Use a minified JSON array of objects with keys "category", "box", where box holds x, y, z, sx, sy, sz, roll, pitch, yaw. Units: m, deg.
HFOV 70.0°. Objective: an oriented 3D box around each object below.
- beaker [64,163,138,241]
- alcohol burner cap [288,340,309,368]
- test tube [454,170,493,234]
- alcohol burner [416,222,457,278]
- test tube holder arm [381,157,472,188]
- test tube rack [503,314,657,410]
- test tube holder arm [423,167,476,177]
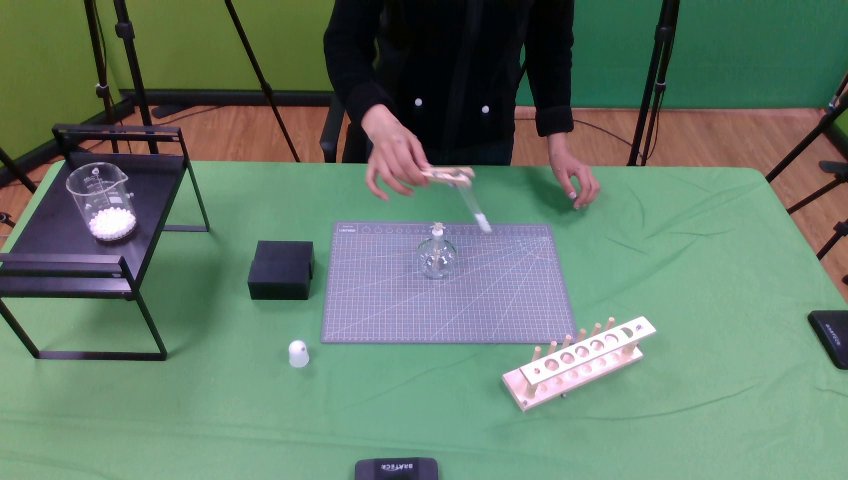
[{"category":"beaker","box":[-0.477,-0.055,0.910,0.084,0.101,0.073,-9,48,-13]},{"category":"alcohol burner cap","box":[-0.207,0.183,0.991,0.034,0.048,0.033,3,47,-2]},{"category":"test tube","box":[0.078,-0.055,0.924,0.017,0.151,0.017,-14,52,18]},{"category":"alcohol burner","box":[0.024,0.013,1.116,0.078,0.120,0.077,1,45,-1]},{"category":"test tube holder arm","box":[0.000,-0.104,0.913,0.177,0.015,0.013,18,78,39]},{"category":"test tube rack","box":[0.253,0.186,0.989,0.242,0.085,0.066,-18,50,-20]},{"category":"test tube holder arm","box":[0.036,-0.100,0.886,0.087,0.015,0.010,5,71,36]}]
